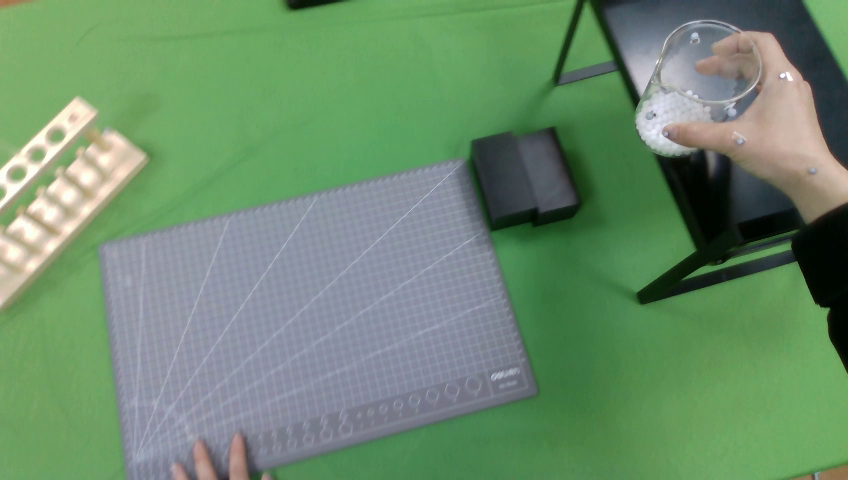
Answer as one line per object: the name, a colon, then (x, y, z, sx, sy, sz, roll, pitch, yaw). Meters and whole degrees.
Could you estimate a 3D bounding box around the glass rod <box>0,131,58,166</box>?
glass rod: (-0.426, -0.102, 0.634, 0.008, 0.200, 0.008, 0, 79, 2)

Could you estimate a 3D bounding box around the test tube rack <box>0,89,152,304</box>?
test tube rack: (-0.436, -0.048, 0.687, 0.066, 0.085, 0.242, 36, 77, 11)

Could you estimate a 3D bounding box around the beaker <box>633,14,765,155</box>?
beaker: (0.215, -0.120, 0.498, 0.084, 0.101, 0.073, -17, 71, -1)
